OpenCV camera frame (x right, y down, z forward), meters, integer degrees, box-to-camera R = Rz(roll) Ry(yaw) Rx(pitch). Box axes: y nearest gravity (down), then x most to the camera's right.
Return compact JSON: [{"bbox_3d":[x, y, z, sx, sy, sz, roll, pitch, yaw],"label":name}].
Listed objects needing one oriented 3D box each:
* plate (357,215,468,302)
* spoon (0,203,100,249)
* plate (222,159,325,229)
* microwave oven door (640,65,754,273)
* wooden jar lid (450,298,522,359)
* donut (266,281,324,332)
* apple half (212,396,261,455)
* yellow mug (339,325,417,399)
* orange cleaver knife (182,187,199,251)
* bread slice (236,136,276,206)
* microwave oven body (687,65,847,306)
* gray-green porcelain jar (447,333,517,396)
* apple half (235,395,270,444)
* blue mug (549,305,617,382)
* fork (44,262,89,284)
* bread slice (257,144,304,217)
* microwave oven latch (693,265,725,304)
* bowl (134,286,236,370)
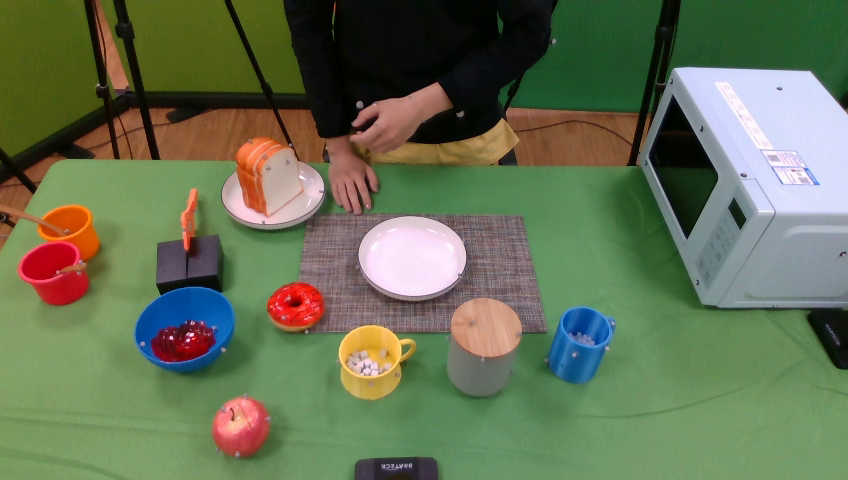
[{"bbox_3d":[-0.022,0.037,1.141,0.208,0.039,0.206,2,46,-2],"label":"plate"},{"bbox_3d":[-0.683,-0.031,1.088,0.195,0.021,0.041,33,33,-38],"label":"spoon"},{"bbox_3d":[-0.308,-0.095,1.251,0.209,0.038,0.208,2,46,-2],"label":"plate"},{"bbox_3d":[0.523,-0.147,1.193,0.039,0.245,0.353,0,47,-3],"label":"microwave oven door"},{"bbox_3d":[0.093,0.135,0.914,0.108,0.021,0.107,3,48,-3],"label":"wooden jar lid"},{"bbox_3d":[-0.222,0.114,1.049,0.099,0.048,0.098,2,45,-2],"label":"donut"},{"bbox_3d":[-0.276,0.276,0.877,0.053,0.075,0.080,-29,58,-21],"label":"apple half"},{"bbox_3d":[-0.072,0.191,0.978,0.131,0.064,0.099,-17,49,-20],"label":"yellow mug"},{"bbox_3d":[-0.445,-0.045,1.163,0.012,0.077,0.210,-5,24,-13],"label":"orange cleaver knife"},{"bbox_3d":[-0.331,-0.147,1.225,0.019,0.132,0.105,24,47,26],"label":"bread slice"},{"bbox_3d":[0.669,-0.111,1.176,0.326,0.261,0.439,0,46,-3],"label":"microwave oven body"},{"bbox_3d":[0.091,0.178,0.960,0.106,0.127,0.105,2,46,-2],"label":"gray-green porcelain jar"},{"bbox_3d":[-0.245,0.259,0.893,0.033,0.082,0.081,-29,55,-22],"label":"apple half"},{"bbox_3d":[0.269,0.166,0.998,0.116,0.106,0.082,-19,51,-21],"label":"blue mug"},{"bbox_3d":[-0.598,0.054,1.014,0.207,0.019,0.028,-15,29,45],"label":"fork"},{"bbox_3d":[-0.290,-0.124,1.205,0.018,0.135,0.107,25,53,23],"label":"bread slice"},{"bbox_3d":[0.522,0.081,1.116,0.030,0.029,0.078,2,46,-1],"label":"microwave oven latch"},{"bbox_3d":[-0.377,0.155,0.981,0.151,0.077,0.150,2,46,-2],"label":"bowl"}]
